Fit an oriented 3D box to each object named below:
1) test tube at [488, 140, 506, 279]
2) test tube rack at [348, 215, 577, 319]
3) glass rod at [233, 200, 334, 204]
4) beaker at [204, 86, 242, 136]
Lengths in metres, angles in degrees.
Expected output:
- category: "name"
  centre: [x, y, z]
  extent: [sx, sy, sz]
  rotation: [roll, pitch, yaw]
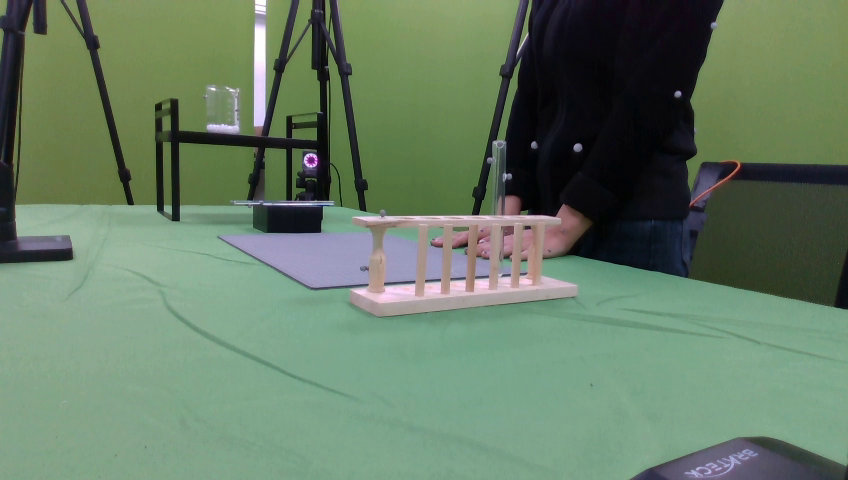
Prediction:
- category: "test tube"
  centre: [0.079, -0.032, 0.654]
  extent: [0.017, 0.150, 0.017]
  rotation: [1, 2, 0]
- category: "test tube rack"
  centre: [0.048, 0.021, 0.619]
  extent: [0.244, 0.085, 0.066]
  rotation: [-2, 9, -31]
- category: "glass rod"
  centre: [-0.262, -0.071, 1.146]
  extent: [0.201, 0.008, 0.008]
  rotation: [-2, 9, -34]
- category: "beaker"
  centre: [-0.429, -0.276, 1.300]
  extent: [0.083, 0.100, 0.074]
  rotation: [9, 10, 37]
